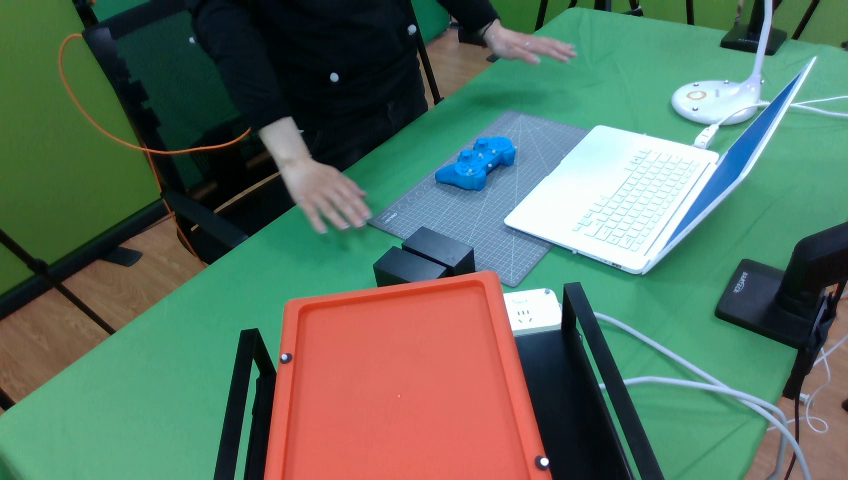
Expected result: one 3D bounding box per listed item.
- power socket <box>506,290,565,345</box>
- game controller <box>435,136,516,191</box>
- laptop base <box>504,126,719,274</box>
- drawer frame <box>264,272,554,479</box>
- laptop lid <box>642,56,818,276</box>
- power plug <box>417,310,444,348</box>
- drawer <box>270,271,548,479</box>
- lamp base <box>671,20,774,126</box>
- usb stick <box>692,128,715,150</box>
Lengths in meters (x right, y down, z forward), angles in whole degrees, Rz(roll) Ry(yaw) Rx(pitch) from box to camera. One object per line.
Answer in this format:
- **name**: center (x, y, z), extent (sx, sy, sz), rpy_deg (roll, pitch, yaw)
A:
- **power socket**: center (0.081, 0.112, 0.822), extent (0.227, 0.033, 0.072), rpy_deg (-7, 40, 0)
- **game controller**: center (0.099, -0.150, 1.110), extent (0.096, 0.052, 0.155), rpy_deg (30, 53, 29)
- **laptop base**: center (0.326, -0.084, 1.028), extent (0.233, 0.023, 0.355), rpy_deg (21, 48, 32)
- **drawer frame**: center (-0.016, 0.134, 0.494), extent (0.202, 0.083, 0.212), rpy_deg (-8, 41, -2)
- **laptop lid**: center (0.445, -0.108, 0.876), extent (0.013, 0.241, 0.357), rpy_deg (39, 53, 12)
- **power plug**: center (0.007, 0.123, 0.784), extent (0.035, 0.053, 0.072), rpy_deg (-1, 42, 7)
- **drawer**: center (-0.018, 0.132, 0.499), extent (0.195, 0.073, 0.210), rpy_deg (-7, 41, -1)
- **lamp base**: center (0.581, -0.332, 1.154), extent (0.179, 0.181, 0.160), rpy_deg (2, 41, 7)
- **usb stick**: center (0.501, -0.176, 1.091), extent (0.021, 0.027, 0.059), rpy_deg (30, 56, 29)
